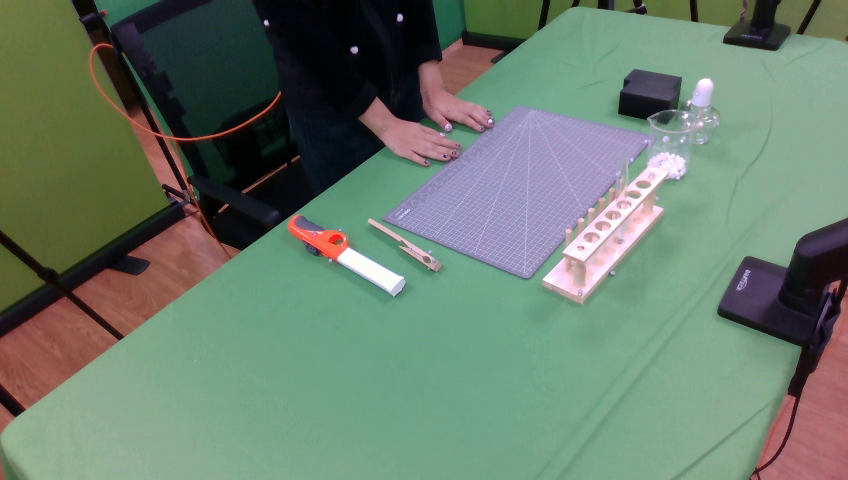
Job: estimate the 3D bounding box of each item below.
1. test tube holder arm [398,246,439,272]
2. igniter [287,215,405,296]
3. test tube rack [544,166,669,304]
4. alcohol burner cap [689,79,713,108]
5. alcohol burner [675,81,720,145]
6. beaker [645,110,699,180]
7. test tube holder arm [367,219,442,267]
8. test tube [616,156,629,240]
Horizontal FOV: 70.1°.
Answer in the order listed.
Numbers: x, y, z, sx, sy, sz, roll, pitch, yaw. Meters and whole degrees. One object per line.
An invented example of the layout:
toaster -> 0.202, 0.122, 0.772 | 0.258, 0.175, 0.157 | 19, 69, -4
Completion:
test tube holder arm -> -0.009, 0.027, 0.956 | 0.087, 0.015, 0.010 | 34, 89, 40
igniter -> -0.137, 0.019, 0.980 | 0.274, 0.025, 0.057 | 28, 62, 36
test tube rack -> 0.274, -0.018, 0.903 | 0.066, 0.085, 0.243 | 26, 51, 35
alcohol burner cap -> 0.492, -0.262, 1.071 | 0.034, 0.048, 0.033 | -1, 45, 2
alcohol burner -> 0.497, -0.234, 1.094 | 0.078, 0.119, 0.077 | -5, 42, 5
beaker -> 0.417, -0.160, 1.032 | 0.083, 0.101, 0.074 | 25, 51, 34
test tube holder arm -> -0.035, 0.003, 0.985 | 0.177, 0.015, 0.013 | 32, 88, 40
test tube -> 0.284, -0.057, 0.869 | 0.017, 0.151, 0.017 | -8, 42, 8
